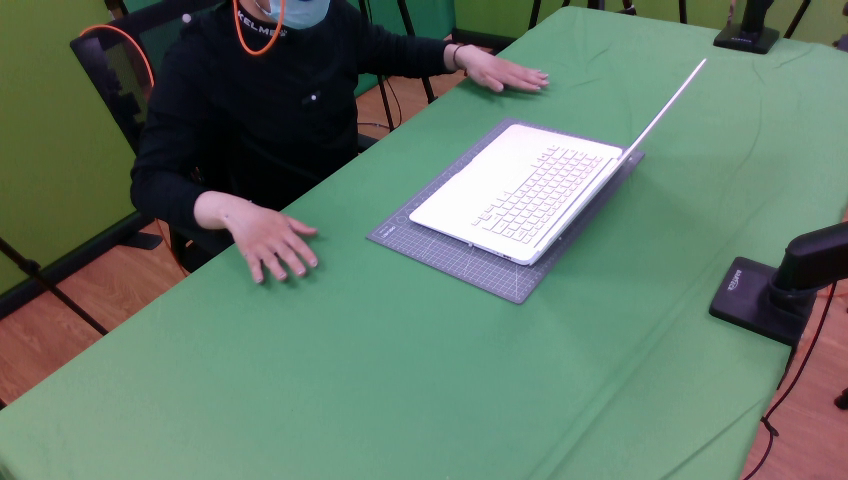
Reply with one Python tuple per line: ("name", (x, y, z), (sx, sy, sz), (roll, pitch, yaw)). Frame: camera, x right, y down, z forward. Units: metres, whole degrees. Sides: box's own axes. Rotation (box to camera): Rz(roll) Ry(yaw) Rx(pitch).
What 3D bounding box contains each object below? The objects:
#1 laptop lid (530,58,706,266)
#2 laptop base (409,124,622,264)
("laptop lid", (0.293, -0.118, 0.905), (0.013, 0.241, 0.357), (40, 53, 9))
("laptop base", (0.168, -0.095, 1.057), (0.233, 0.023, 0.355), (20, 47, 33))
